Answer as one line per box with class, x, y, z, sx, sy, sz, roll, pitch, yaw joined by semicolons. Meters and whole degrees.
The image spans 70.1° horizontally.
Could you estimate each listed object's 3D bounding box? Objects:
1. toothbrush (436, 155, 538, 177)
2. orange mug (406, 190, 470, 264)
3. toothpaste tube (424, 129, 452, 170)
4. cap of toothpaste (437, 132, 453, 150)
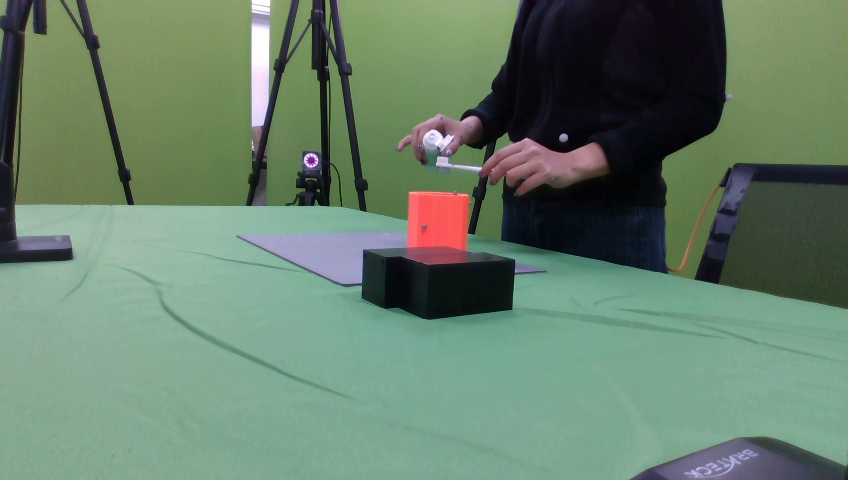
toothbrush;0.097;-0.117;0.957;0.181;0.016;0.014;12;3;32
orange mug;0.027;-0.023;0.866;0.083;0.101;0.126;6;12;24
toothpaste tube;0.023;-0.158;1.084;0.055;0.034;0.165;17;-11;6
cap of toothpaste;0.034;-0.164;0.995;0.011;0.037;0.037;42;1;-10
